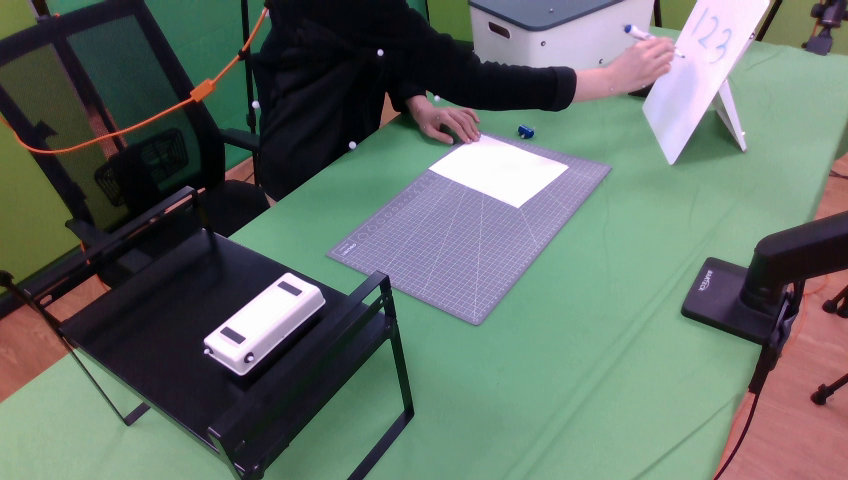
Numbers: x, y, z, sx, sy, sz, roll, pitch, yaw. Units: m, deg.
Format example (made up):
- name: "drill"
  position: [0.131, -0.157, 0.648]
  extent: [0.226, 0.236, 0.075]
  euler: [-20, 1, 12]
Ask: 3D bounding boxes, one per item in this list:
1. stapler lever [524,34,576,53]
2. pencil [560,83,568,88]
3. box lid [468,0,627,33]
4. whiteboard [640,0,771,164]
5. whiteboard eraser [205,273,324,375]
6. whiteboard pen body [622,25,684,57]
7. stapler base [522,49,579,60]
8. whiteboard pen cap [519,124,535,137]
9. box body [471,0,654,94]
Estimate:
- name: "stapler lever"
  position: [0.297, -0.462, 1.424]
  extent: [0.117, 0.040, 0.027]
  euler: [5, 24, 17]
- name: "pencil"
  position: [0.248, -0.393, 1.398]
  extent: [0.193, 0.012, 0.012]
  euler: [32, 53, 23]
- name: "box lid"
  position: [0.312, -0.554, 1.358]
  extent: [0.373, 0.015, 0.261]
  euler: [-26, 44, -20]
- name: "whiteboard"
  position: [0.543, -0.299, 1.076]
  extent: [0.144, 0.305, 0.216]
  euler: [12, 40, -7]
- name: "whiteboard eraser"
  position: [-0.157, 0.084, 0.605]
  extent: [0.055, 0.042, 0.113]
  euler: [24, 49, 30]
- name: "whiteboard pen body"
  position: [0.399, -0.341, 1.046]
  extent: [0.142, 0.017, 0.017]
  euler: [14, 34, -25]
- name: "stapler base"
  position: [0.300, -0.441, 1.434]
  extent: [0.130, 0.024, 0.041]
  euler: [3, 23, 18]
- name: "whiteboard pen cap"
  position: [0.206, -0.218, 1.204]
  extent: [0.018, 0.018, 0.033]
  euler: [-27, 45, -22]
- name: "box body"
  position: [0.319, -0.498, 1.405]
  extent: [0.365, 0.161, 0.252]
  euler: [-26, 43, -21]
